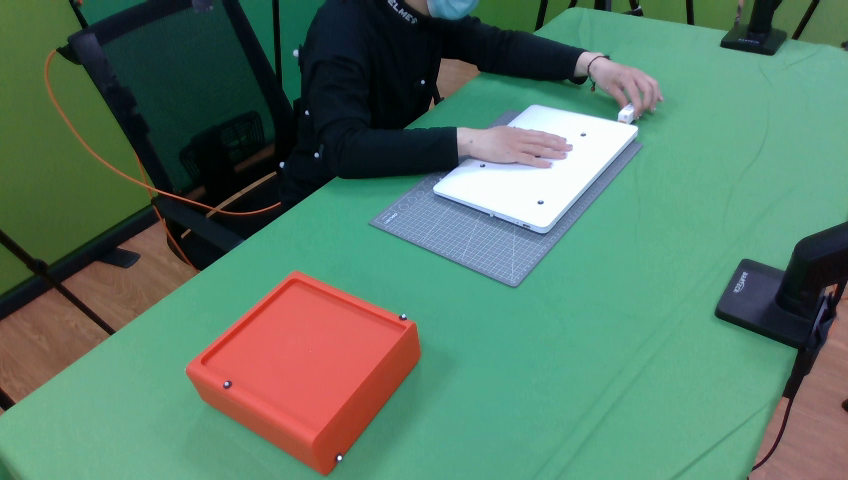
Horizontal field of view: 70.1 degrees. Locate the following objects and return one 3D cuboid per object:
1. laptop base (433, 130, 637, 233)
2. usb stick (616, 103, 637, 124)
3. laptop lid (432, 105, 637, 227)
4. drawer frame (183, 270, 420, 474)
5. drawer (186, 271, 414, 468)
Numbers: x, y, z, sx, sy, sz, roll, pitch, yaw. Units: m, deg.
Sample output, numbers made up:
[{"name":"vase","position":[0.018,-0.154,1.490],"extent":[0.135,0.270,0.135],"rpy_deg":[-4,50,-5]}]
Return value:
[{"name":"laptop base","position":[0.210,-0.142,1.111],"extent":[0.233,0.023,0.355],"rpy_deg":[21,47,34]},{"name":"usb stick","position":[0.391,-0.240,1.176],"extent":[0.021,0.027,0.059],"rpy_deg":[27,54,27]},{"name":"laptop lid","position":[0.207,-0.151,1.105],"extent":[0.239,0.013,0.358],"rpy_deg":[23,48,34]},{"name":"drawer frame","position":[-0.149,0.153,0.767],"extent":[0.212,0.083,0.202],"rpy_deg":[20,46,27]},{"name":"drawer","position":[-0.150,0.153,0.768],"extent":[0.210,0.073,0.195],"rpy_deg":[20,46,28]}]
